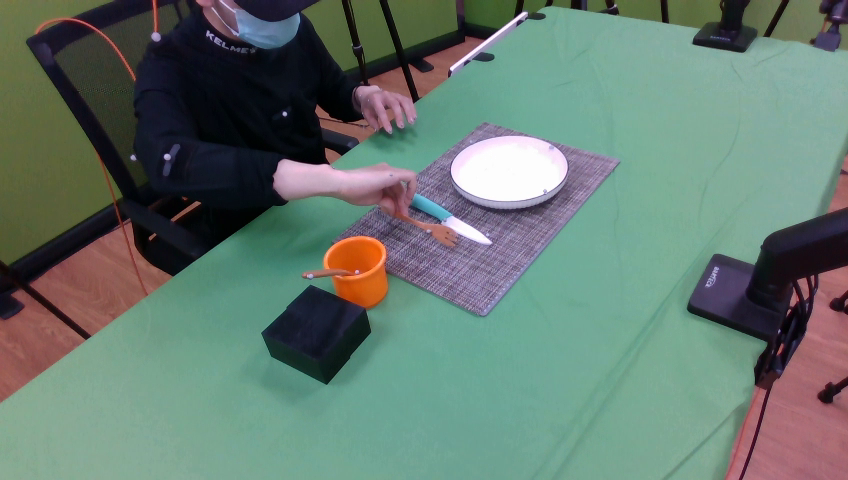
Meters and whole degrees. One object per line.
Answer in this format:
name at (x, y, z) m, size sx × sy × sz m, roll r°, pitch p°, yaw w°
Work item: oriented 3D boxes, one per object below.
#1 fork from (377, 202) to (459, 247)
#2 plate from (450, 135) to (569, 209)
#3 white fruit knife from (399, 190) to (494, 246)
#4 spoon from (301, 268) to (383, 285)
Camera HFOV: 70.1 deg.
fork at (-0.014, -0.030, 0.977) m, size 0.019 × 0.028 × 0.205 m, roll 1°, pitch 18°, yaw -46°
plate at (0.149, -0.117, 1.066) m, size 0.209 × 0.038 × 0.208 m, roll -4°, pitch 41°, yaw 4°
white fruit knife at (0.036, -0.038, 1.009) m, size 0.205 × 0.016 × 0.027 m, roll 32°, pitch 83°, yaw 34°
spoon at (-0.112, 0.048, 0.831) m, size 0.041 × 0.195 × 0.021 m, roll 18°, pitch 90°, yaw 24°
